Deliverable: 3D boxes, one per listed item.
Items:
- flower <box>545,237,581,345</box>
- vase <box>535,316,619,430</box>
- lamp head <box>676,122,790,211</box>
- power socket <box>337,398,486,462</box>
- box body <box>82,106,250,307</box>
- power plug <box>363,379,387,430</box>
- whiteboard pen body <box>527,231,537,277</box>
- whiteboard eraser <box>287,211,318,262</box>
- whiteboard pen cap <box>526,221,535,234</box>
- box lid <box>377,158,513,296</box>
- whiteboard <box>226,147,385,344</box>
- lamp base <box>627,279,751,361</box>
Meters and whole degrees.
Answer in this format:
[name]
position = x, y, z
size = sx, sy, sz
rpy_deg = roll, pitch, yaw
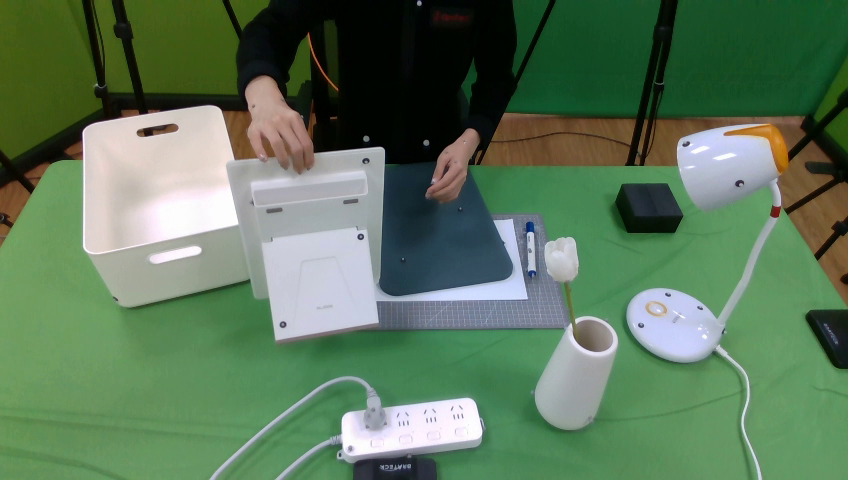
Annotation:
[flower]
position = 0.213, 0.137, 0.846
size = 0.038, 0.364, 0.044
rpy_deg = 21, 55, 39
[vase]
position = 0.229, 0.200, 0.900
size = 0.098, 0.201, 0.097
rpy_deg = 3, 46, -3
[lamp head]
position = 0.423, -0.104, 0.819
size = 0.122, 0.113, 0.112
rpy_deg = -13, 33, 40
[power socket]
position = -0.018, 0.285, 0.914
size = 0.227, 0.033, 0.071
rpy_deg = -4, 46, -8
[box body]
position = -0.471, -0.071, 1.131
size = 0.254, 0.161, 0.361
rpy_deg = -14, 49, -17
[power plug]
position = -0.071, 0.252, 0.911
size = 0.035, 0.053, 0.072
rpy_deg = 3, 40, 0
[whiteboard pen body]
position = 0.211, 0.018, 1.191
size = 0.017, 0.017, 0.140
rpy_deg = 6, 44, 2
[whiteboard eraser]
position = -0.234, -0.007, 1.173
size = 0.055, 0.042, 0.112
rpy_deg = -4, 47, -4
[whiteboard pen cap]
position = 0.216, -0.022, 1.234
size = 0.018, 0.018, 0.033
rpy_deg = 6, 44, 2
[box lid]
position = 0.009, -0.039, 1.242
size = 0.264, 0.015, 0.369
rpy_deg = -8, 47, -12
[whiteboard]
position = -0.157, 0.031, 0.900
size = 0.217, 0.307, 0.143
rpy_deg = -7, 50, -13
[lamp base]
position = 0.460, 0.100, 1.027
size = 0.178, 0.181, 0.160
rpy_deg = 27, 51, 17
